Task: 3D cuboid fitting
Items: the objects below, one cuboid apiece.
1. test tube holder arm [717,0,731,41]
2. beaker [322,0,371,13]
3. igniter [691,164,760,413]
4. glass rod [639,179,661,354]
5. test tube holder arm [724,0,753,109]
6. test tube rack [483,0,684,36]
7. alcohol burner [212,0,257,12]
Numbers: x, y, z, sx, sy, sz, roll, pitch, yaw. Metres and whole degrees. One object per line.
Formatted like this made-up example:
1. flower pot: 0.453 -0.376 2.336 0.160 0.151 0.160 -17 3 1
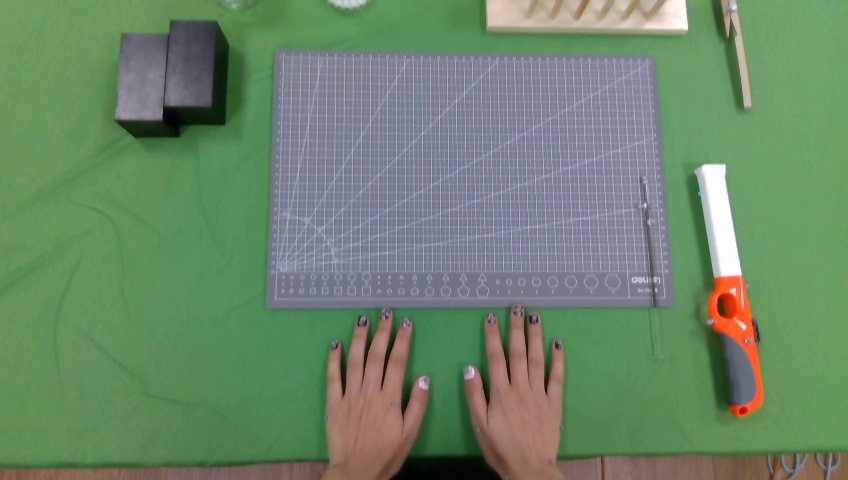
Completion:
1. test tube holder arm: 0.366 -0.288 0.744 0.010 0.015 0.087 -13 79 31
2. beaker: -0.089 -0.314 0.683 0.074 0.100 0.084 39 79 5
3. igniter: 0.335 0.050 0.675 0.057 0.025 0.275 -2 79 -13
4. glass rod: 0.253 0.028 0.681 0.008 0.008 0.199 -1 79 -3
5. test tube holder arm: 0.377 -0.245 0.734 0.013 0.015 0.177 -13 79 31
6. test tube rack: 0.194 -0.289 0.700 0.242 0.085 0.066 0 79 -3
7. alcohol burner: -0.222 -0.308 0.668 0.078 0.119 0.077 0 77 -1
